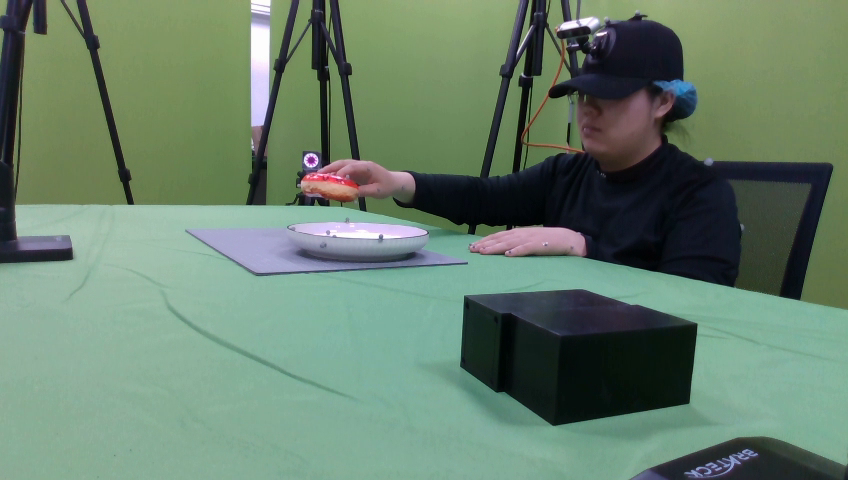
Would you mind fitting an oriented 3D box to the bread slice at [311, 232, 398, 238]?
[{"bbox_3d":[-0.101,0.002,0.885,0.135,0.018,0.106,-3,8,-38],"label":"bread slice"}]

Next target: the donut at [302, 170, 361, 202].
[{"bbox_3d":[-0.157,-0.090,1.024,0.099,0.048,0.099,9,1,0],"label":"donut"}]

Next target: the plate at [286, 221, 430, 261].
[{"bbox_3d":[-0.096,0.001,0.886,0.209,0.038,0.209,2,7,0],"label":"plate"}]
